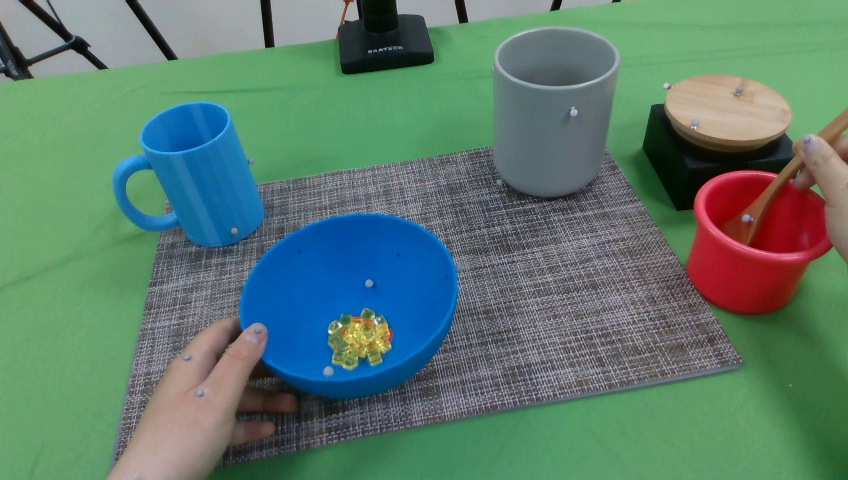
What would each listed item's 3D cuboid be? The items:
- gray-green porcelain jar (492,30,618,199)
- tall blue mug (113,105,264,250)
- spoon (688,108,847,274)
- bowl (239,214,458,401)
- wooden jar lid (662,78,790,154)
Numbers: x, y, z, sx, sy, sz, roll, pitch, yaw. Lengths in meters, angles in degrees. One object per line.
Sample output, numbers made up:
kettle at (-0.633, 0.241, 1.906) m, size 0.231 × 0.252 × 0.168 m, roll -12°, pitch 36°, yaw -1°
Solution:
gray-green porcelain jar at (0.115, -0.110, 0.559) m, size 0.106 × 0.128 × 0.105 m, roll -3°, pitch 45°, yaw 3°
tall blue mug at (-0.206, -0.046, 0.539) m, size 0.077 × 0.109 × 0.107 m, roll 26°, pitch 53°, yaw 27°
spoon at (0.272, -0.045, 0.452) m, size 0.022 × 0.194 × 0.041 m, roll 23°, pitch 31°, yaw -14°
bowl at (-0.048, 0.060, 0.440) m, size 0.151 × 0.077 × 0.150 m, roll -3°, pitch 45°, yaw 3°
wooden jar lid at (0.275, -0.114, 0.557) m, size 0.108 × 0.021 × 0.107 m, roll -3°, pitch 45°, yaw 4°
